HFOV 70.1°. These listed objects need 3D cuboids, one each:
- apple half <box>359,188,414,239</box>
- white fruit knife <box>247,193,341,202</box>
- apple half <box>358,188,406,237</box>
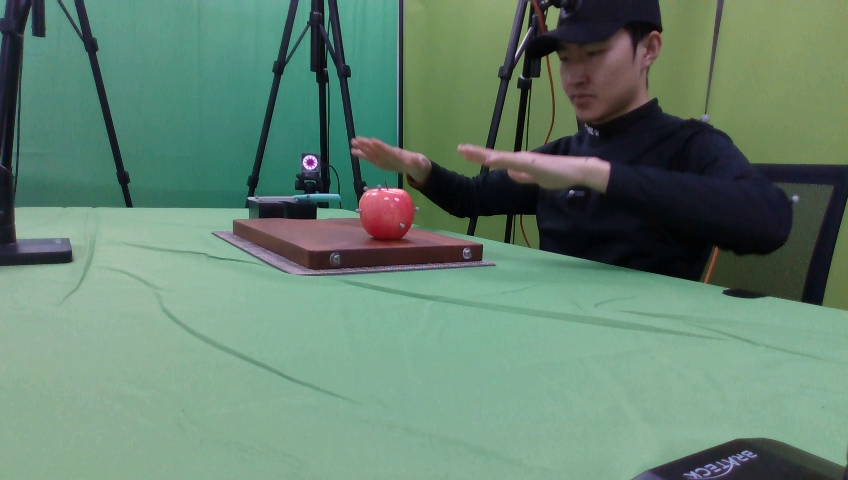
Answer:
[{"bbox_3d":[-0.049,-0.037,0.870,0.081,0.074,0.053,3,10,-30],"label":"apple half"},{"bbox_3d":[-0.271,-0.088,1.283,0.208,0.016,0.027,-3,-20,-31],"label":"white fruit knife"},{"bbox_3d":[-0.068,-0.043,0.904,0.082,0.081,0.032,-1,10,-29],"label":"apple half"}]
